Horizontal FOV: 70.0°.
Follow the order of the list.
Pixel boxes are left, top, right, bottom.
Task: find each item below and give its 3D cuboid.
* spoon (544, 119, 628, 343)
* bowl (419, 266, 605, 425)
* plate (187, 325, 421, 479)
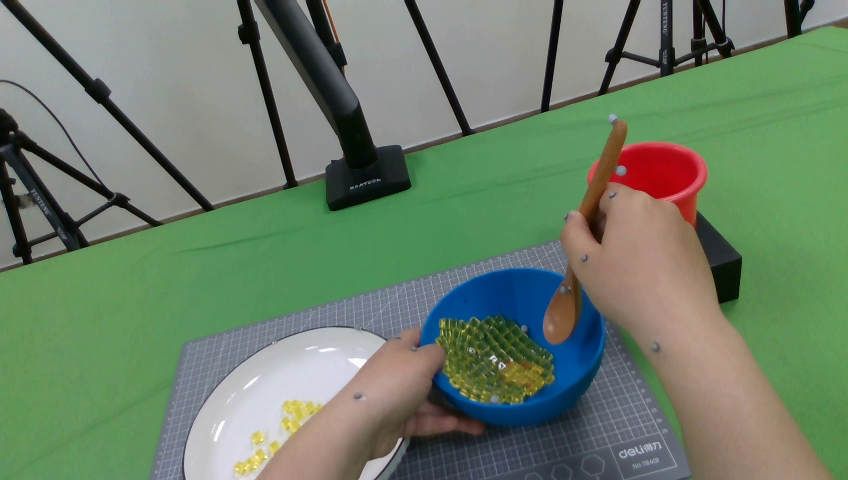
[{"bbox_3d":[0.111,0.003,0.426,0.022,0.195,0.041,-3,42,-5],"label":"spoon"},{"bbox_3d":[0.077,0.100,0.509,0.151,0.077,0.150,-11,37,9],"label":"bowl"},{"bbox_3d":[-0.101,0.163,0.534,0.207,0.039,0.205,-11,37,9],"label":"plate"}]
